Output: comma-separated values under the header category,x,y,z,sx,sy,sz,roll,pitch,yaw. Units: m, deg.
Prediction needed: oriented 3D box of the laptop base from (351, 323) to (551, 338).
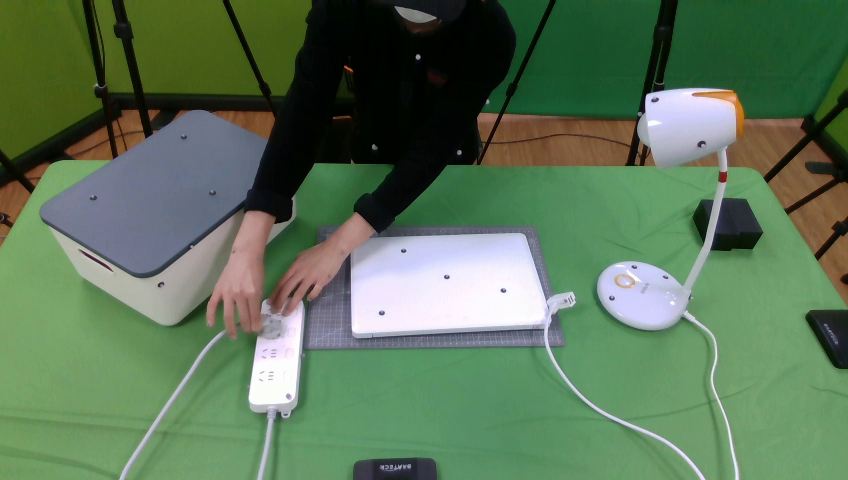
category,x,y,z,sx,sy,sz,roll,pitch,yaw
laptop base,0.040,0.080,1.125,0.355,0.023,0.234,-2,43,-6

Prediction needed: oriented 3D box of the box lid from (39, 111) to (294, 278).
category,x,y,z,sx,sy,sz,roll,pitch,yaw
box lid,-0.435,-0.097,1.055,0.262,0.015,0.370,25,49,18

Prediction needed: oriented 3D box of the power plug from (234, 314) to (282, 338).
category,x,y,z,sx,sy,sz,roll,pitch,yaw
power plug,-0.270,0.141,0.998,0.072,0.053,0.035,11,45,1

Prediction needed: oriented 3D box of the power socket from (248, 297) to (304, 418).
category,x,y,z,sx,sy,sz,roll,pitch,yaw
power socket,-0.240,0.182,0.996,0.072,0.033,0.225,-1,46,-4

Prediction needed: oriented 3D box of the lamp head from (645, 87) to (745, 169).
category,x,y,z,sx,sy,sz,roll,pitch,yaw
lamp head,0.382,-0.161,0.852,0.122,0.113,0.112,-4,42,25

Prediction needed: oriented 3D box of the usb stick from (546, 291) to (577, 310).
category,x,y,z,sx,sy,sz,roll,pitch,yaw
usb stick,0.241,0.110,1.086,0.027,0.059,0.021,-35,102,-42

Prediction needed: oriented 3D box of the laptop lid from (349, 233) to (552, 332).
category,x,y,z,sx,sy,sz,roll,pitch,yaw
laptop lid,0.040,0.071,1.119,0.357,0.013,0.240,-1,44,-5

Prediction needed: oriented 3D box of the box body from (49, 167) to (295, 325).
category,x,y,z,sx,sy,sz,roll,pitch,yaw
box body,-0.437,-0.046,1.110,0.253,0.161,0.363,24,49,18

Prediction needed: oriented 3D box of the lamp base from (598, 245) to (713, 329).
category,x,y,z,sx,sy,sz,roll,pitch,yaw
lamp base,0.420,0.051,1.071,0.179,0.181,0.160,22,49,13
